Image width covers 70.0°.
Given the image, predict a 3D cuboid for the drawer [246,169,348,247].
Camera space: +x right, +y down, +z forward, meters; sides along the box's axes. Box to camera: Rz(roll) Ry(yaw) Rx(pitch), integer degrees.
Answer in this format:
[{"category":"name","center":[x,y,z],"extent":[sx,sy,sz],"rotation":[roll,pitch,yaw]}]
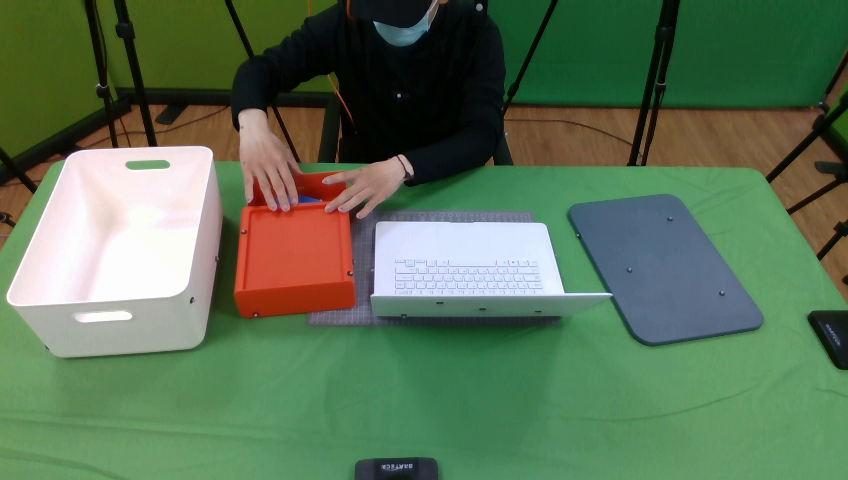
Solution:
[{"category":"drawer","center":[-0.246,-0.042,1.176],"extent":[0.195,0.073,0.210],"rotation":[-3,47,-7]}]

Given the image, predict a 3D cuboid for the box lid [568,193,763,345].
[{"category":"box lid","center":[0.464,0.040,1.203],"extent":[0.264,0.015,0.369],"rotation":[-7,47,-11]}]

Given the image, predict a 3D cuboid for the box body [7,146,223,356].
[{"category":"box body","center":[-0.499,0.012,1.051],"extent":[0.254,0.161,0.361],"rotation":[-3,47,-7]}]

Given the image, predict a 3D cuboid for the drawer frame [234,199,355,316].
[{"category":"drawer frame","center":[-0.233,0.026,1.111],"extent":[0.202,0.083,0.212],"rotation":[-5,47,-8]}]

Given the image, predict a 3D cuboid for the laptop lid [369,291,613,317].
[{"category":"laptop lid","center":[0.092,0.104,0.965],"extent":[0.357,0.242,0.013],"rotation":[0,76,-5]}]

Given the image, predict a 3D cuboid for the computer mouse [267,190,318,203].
[{"category":"computer mouse","center":[-0.254,-0.066,1.209],"extent":[0.117,0.041,0.062],"rotation":[10,39,-10]}]

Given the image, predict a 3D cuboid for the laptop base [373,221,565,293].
[{"category":"laptop base","center":[0.080,0.049,1.158],"extent":[0.355,0.023,0.234],"rotation":[0,43,-4]}]
